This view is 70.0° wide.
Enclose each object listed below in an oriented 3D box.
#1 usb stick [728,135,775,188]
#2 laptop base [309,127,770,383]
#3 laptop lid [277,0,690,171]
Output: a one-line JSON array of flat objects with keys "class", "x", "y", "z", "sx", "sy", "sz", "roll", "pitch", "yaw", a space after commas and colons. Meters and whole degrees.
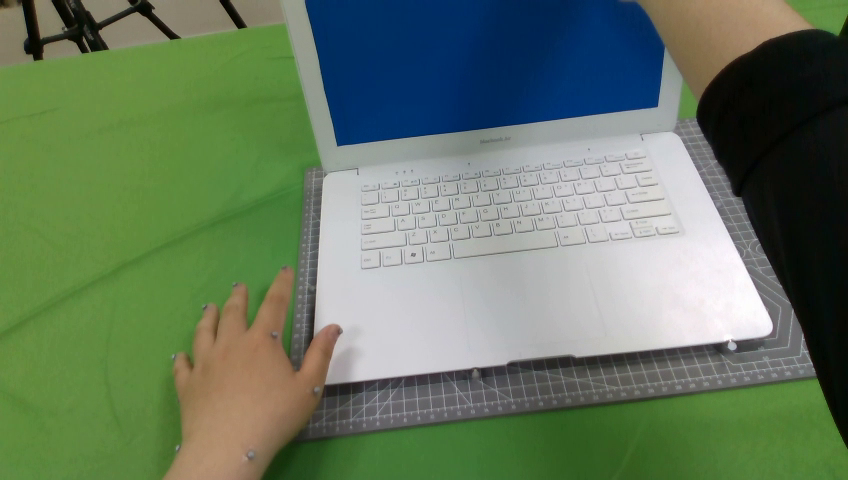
[{"class": "usb stick", "x": 0.301, "y": -0.078, "z": 0.562, "sx": 0.021, "sy": 0.027, "sz": 0.058, "roll": -7, "pitch": 48, "yaw": 3}, {"class": "laptop base", "x": 0.079, "y": 0.002, "z": 0.532, "sx": 0.354, "sy": 0.023, "sz": 0.233, "roll": -7, "pitch": 52, "yaw": 1}, {"class": "laptop lid", "x": 0.057, "y": -0.180, "z": 0.536, "sx": 0.357, "sy": 0.244, "sz": 0.013, "roll": -8, "pitch": 37, "yaw": 2}]
